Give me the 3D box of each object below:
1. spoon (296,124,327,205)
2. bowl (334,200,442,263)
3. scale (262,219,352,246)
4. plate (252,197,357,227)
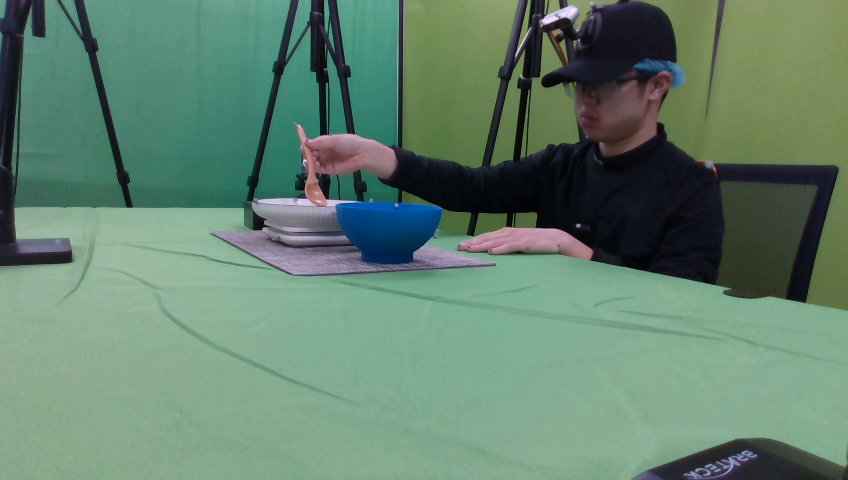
[{"bbox_3d":[-0.201,-0.134,1.058,0.042,0.193,0.021,15,-42,-42],"label":"spoon"},{"bbox_3d":[-0.051,-0.012,0.849,0.151,0.077,0.151,2,7,0],"label":"bowl"},{"bbox_3d":[-0.160,-0.015,1.027,0.202,0.031,0.148,-2,8,-32],"label":"scale"},{"bbox_3d":[-0.178,-0.047,1.012,0.209,0.038,0.209,2,6,0],"label":"plate"}]
